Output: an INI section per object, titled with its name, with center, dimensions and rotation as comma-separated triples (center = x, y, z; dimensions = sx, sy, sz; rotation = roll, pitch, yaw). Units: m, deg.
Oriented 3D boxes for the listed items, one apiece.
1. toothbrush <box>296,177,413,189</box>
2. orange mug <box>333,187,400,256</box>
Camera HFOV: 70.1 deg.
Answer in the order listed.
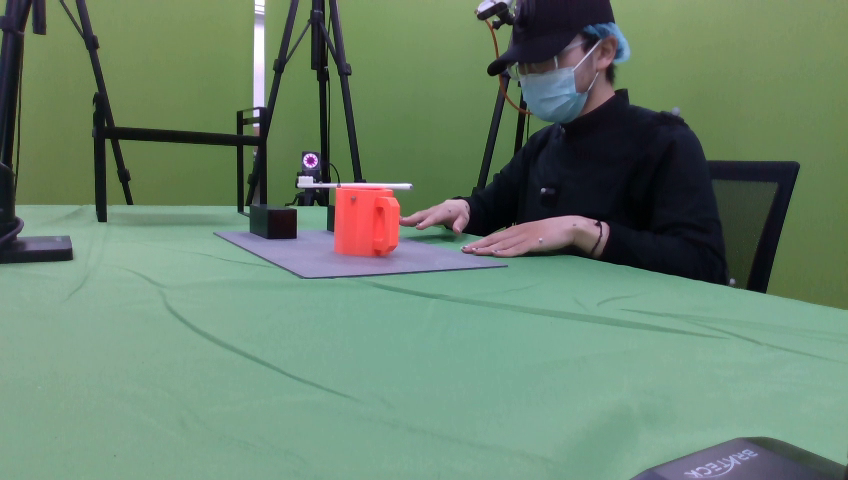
[toothbrush]
center = -0.101, -0.085, 0.911
dimensions = 0.183, 0.016, 0.014
rotation = -1, 3, -25
[orange mug]
center = -0.080, -0.029, 0.888
dimensions = 0.084, 0.100, 0.125
rotation = -3, 5, -40
